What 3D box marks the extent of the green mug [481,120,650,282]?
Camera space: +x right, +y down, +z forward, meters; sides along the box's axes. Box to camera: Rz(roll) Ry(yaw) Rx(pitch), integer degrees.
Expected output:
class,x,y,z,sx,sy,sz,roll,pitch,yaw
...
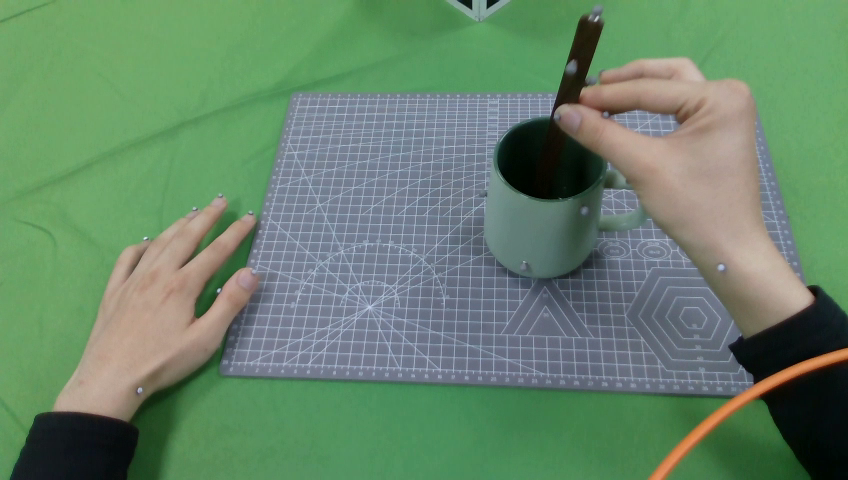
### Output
class,x,y,z,sx,sy,sz,roll,pitch,yaw
green mug,0.107,-0.027,0.464,0.125,0.106,0.092,3,58,6

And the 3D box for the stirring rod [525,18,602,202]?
class,x,y,z,sx,sy,sz,roll,pitch,yaw
stirring rod,0.086,-0.073,0.395,0.014,0.177,0.006,21,63,10
